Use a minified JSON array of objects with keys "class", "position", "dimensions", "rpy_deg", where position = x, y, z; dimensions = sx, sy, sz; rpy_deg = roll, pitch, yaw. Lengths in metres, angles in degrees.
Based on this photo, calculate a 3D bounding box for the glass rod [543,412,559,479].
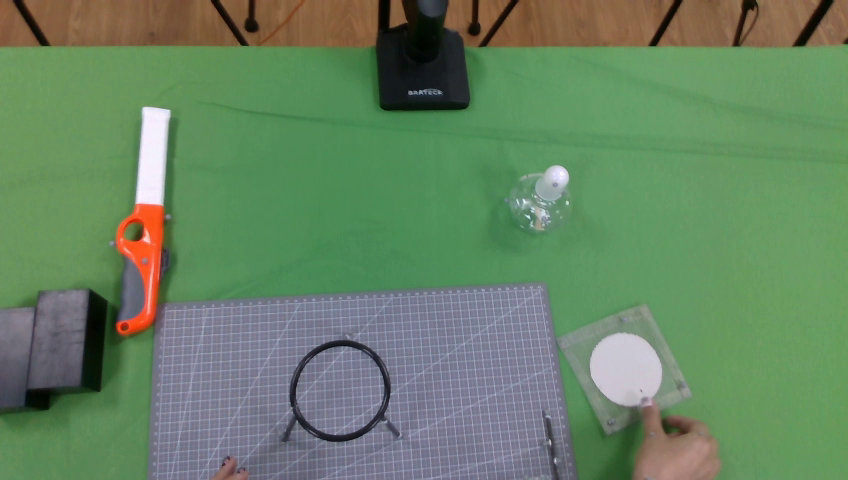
[{"class":"glass rod","position":[0.146,0.287,0.651],"dimensions":[0.008,0.008,0.198],"rpy_deg":[-3,71,-8]}]

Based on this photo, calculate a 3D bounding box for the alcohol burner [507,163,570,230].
[{"class":"alcohol burner","position":[0.141,-0.057,0.719],"dimensions":[0.078,0.119,0.077],"rpy_deg":[2,68,-6]}]

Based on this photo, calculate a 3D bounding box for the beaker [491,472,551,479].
[{"class":"beaker","position":[0.091,0.271,0.602],"dimensions":[0.074,0.101,0.083],"rpy_deg":[27,69,3]}]

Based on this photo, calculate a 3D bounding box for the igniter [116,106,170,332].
[{"class":"igniter","position":[-0.320,-0.030,0.698],"dimensions":[0.057,0.025,0.274],"rpy_deg":[4,69,-22]}]

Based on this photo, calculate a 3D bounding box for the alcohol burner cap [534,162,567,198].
[{"class":"alcohol burner cap","position":[0.146,-0.070,0.686],"dimensions":[0.034,0.048,0.033],"rpy_deg":[1,74,-3]}]

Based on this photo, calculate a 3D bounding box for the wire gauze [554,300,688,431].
[{"class":"wire gauze","position":[0.234,0.146,0.716],"dimensions":[0.125,0.011,0.120],"rpy_deg":[-20,74,-11]}]

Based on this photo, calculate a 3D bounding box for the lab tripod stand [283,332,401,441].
[{"class":"lab tripod stand","position":[-0.084,0.151,0.604],"dimensions":[0.148,0.132,0.147],"rpy_deg":[2,69,-4]}]
